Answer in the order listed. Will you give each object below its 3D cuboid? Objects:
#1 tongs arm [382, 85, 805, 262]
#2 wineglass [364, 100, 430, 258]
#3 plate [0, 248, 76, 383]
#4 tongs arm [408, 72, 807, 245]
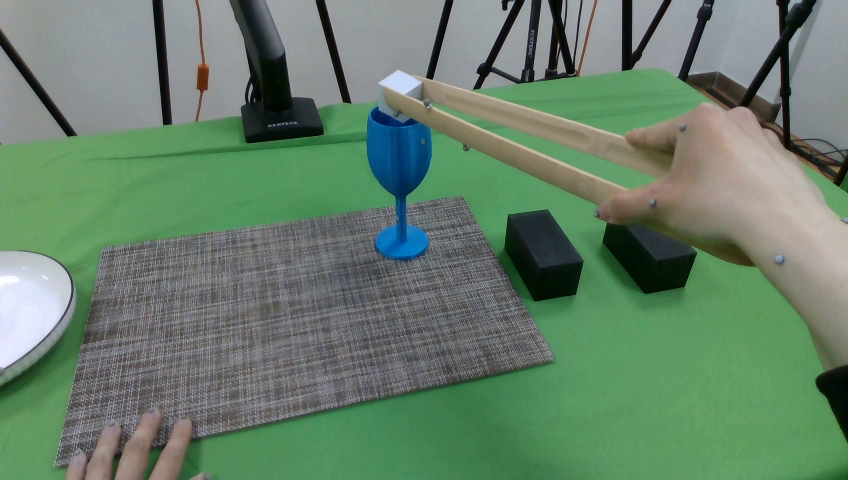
[{"bbox_3d":[0.097,-0.073,0.491,0.051,0.027,0.380,-31,44,-26],"label":"tongs arm"},{"bbox_3d":[-0.029,-0.066,0.683,0.074,0.174,0.073,0,39,0],"label":"wineglass"},{"bbox_3d":[-0.454,0.085,0.598,0.209,0.038,0.207,1,39,0],"label":"plate"},{"bbox_3d":[0.115,-0.086,0.502,0.028,0.028,0.383,-32,44,-31],"label":"tongs arm"}]
